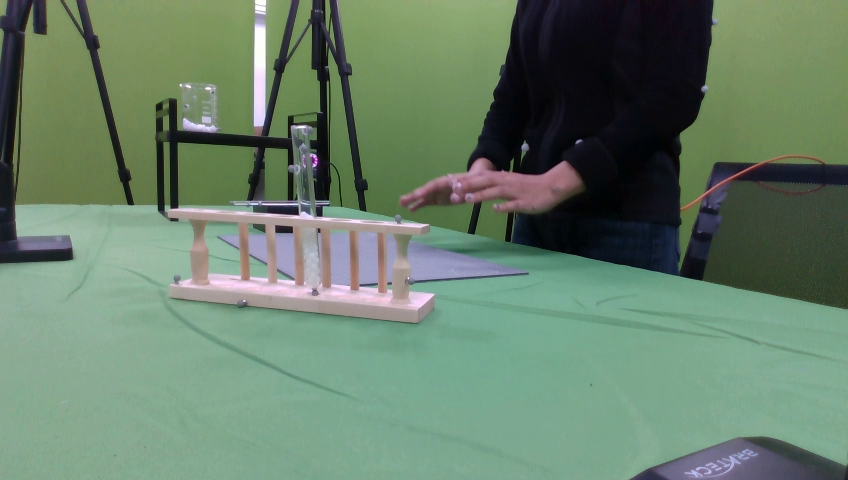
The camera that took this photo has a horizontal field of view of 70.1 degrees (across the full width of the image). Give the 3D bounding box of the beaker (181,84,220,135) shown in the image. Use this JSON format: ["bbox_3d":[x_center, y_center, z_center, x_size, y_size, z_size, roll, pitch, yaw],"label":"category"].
[{"bbox_3d":[-0.475,-0.275,1.281,0.073,0.100,0.084,6,9,35],"label":"beaker"}]

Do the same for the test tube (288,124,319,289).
[{"bbox_3d":[-0.108,-0.029,0.546,0.017,0.150,0.017,-3,12,1],"label":"test tube"}]

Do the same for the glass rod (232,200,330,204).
[{"bbox_3d":[-0.266,-0.071,1.146,0.201,0.008,0.008,-4,9,-40],"label":"glass rod"}]

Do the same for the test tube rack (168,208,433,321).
[{"bbox_3d":[-0.115,0.018,0.574,0.242,0.085,0.067,4,8,13],"label":"test tube rack"}]
